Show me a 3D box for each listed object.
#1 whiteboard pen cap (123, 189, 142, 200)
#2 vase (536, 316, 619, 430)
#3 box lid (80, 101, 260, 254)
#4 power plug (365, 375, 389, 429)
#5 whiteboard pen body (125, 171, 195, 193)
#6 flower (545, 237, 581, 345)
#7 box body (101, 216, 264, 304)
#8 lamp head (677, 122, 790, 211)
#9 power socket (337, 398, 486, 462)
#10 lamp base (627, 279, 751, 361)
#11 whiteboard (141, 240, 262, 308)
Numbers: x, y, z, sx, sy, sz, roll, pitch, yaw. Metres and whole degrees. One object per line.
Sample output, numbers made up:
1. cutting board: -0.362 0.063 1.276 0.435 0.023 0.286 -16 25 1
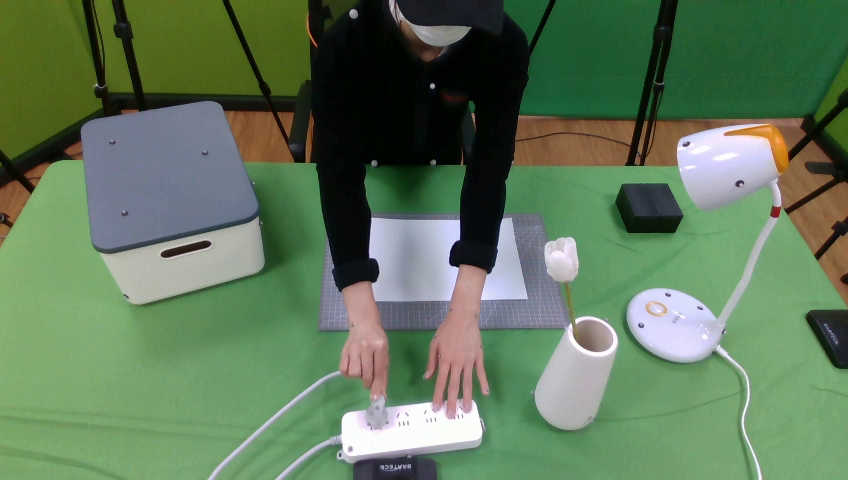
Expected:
1. whiteboard pen cap: -0.591 -0.093 1.231 0.033 0.018 0.018 -13 49 -17
2. vase: 0.229 0.200 0.901 0.098 0.201 0.097 3 46 -3
3. box lid: -0.461 -0.127 1.082 0.264 0.015 0.369 -15 49 -19
4. power plug: -0.068 0.247 0.907 0.035 0.053 0.072 9 40 -5
5. whiteboard pen body: -0.553 -0.119 1.270 0.141 0.017 0.017 -18 50 -15
6. flower: 0.213 0.137 0.846 0.038 0.364 0.044 21 55 40
7. box body: -0.465 -0.076 1.137 0.254 0.161 0.361 -16 50 -19
8. lamp head: 0.424 -0.104 0.819 0.122 0.113 0.112 -13 33 39
9. power socket: -0.017 0.286 0.914 0.227 0.033 0.071 -4 46 -8
10. lamp base: 0.460 0.100 1.027 0.178 0.181 0.160 27 51 17
11. whiteboard: -0.464 -0.059 1.137 0.217 0.144 0.303 -19 51 -17
